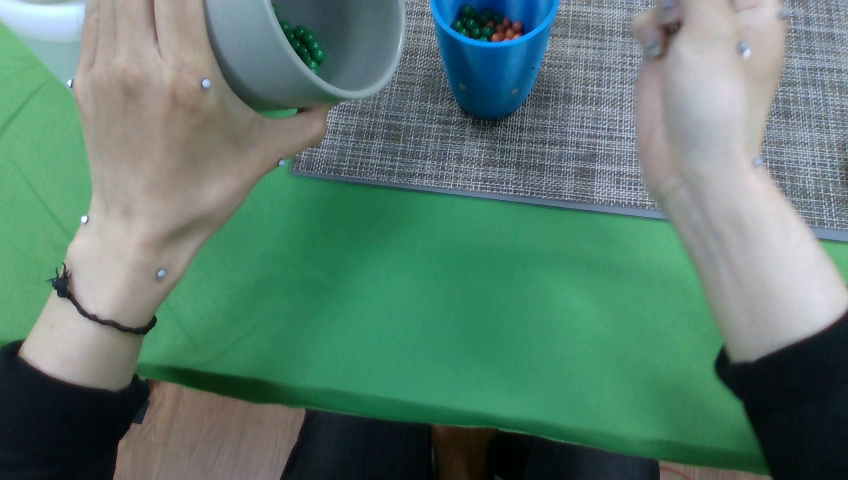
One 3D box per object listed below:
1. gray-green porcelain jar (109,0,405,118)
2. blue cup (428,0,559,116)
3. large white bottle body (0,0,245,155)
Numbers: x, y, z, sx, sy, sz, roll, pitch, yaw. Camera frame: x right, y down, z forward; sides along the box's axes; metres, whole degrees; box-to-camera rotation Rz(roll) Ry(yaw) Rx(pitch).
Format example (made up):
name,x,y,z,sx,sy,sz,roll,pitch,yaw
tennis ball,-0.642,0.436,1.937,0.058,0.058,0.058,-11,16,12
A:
name,x,y,z,sx,sy,sz,roll,pitch,yaw
gray-green porcelain jar,-0.091,-0.121,0.321,0.126,0.107,0.105,1,66,33
blue cup,0.048,-0.142,0.435,0.092,0.101,0.092,-1,69,4
large white bottle body,-0.202,-0.156,0.411,0.130,0.186,0.129,-1,69,2
